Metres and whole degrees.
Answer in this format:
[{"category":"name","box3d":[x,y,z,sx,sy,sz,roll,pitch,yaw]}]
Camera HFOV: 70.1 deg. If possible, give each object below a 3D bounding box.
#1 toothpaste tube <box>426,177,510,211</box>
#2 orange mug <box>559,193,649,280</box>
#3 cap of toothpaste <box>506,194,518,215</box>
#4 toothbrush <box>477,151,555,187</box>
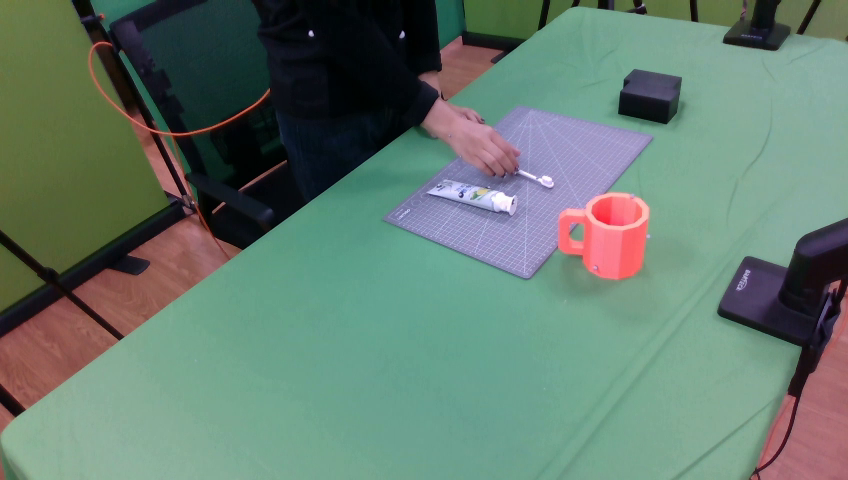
[{"category":"toothpaste tube","box3d":[0.083,-0.081,1.054,0.164,0.034,0.055,18,40,34]},{"category":"orange mug","box3d":[0.261,-0.008,0.884,0.126,0.101,0.083,9,43,14]},{"category":"cap of toothpaste","box3d":[0.146,-0.060,1.008,0.011,0.037,0.037,14,46,22]},{"category":"toothbrush","box3d":[0.164,-0.133,1.107,0.180,0.017,0.014,29,70,39]}]
